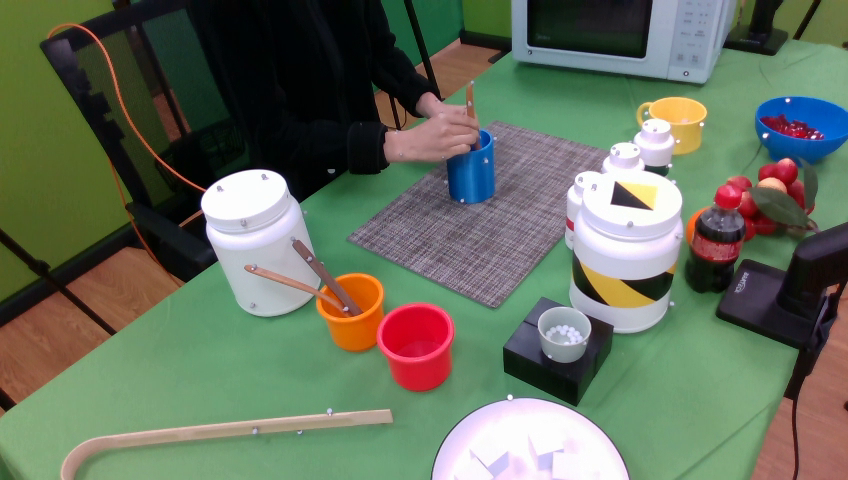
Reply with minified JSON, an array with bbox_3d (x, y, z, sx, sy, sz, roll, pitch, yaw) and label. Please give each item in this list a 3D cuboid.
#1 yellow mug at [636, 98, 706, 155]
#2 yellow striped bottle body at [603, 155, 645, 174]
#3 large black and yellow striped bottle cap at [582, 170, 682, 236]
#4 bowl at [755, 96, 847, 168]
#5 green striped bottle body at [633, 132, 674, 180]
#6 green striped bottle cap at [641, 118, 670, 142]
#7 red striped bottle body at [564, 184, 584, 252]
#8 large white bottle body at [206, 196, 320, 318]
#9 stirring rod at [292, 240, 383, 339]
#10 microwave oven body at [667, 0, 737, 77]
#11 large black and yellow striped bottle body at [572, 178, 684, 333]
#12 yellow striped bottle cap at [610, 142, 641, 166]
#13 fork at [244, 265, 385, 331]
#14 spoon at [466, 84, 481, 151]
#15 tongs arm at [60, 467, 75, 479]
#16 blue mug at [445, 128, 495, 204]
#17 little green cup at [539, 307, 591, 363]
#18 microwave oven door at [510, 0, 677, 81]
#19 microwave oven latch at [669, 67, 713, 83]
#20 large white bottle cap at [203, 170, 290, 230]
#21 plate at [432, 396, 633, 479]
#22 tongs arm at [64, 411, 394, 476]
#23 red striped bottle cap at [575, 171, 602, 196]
[{"bbox_3d":[0.453,-0.217,1.128,0.100,0.064,0.129,-34,46,-27],"label":"yellow mug"},{"bbox_3d":[0.314,-0.090,0.958,0.063,0.121,0.062,-4,40,4],"label":"yellow striped bottle body"},{"bbox_3d":[0.252,-0.048,0.735,0.115,0.019,0.114,-3,40,3],"label":"large black and yellow striped bottle cap"},{"bbox_3d":[0.645,-0.177,1.041,0.151,0.077,0.150,-5,40,4],"label":"bowl"},{"bbox_3d":[0.376,-0.135,1.001,0.063,0.120,0.063,-5,40,5],"label":"green striped bottle body"},{"bbox_3d":[0.371,-0.175,0.968,0.044,0.020,0.044,-7,42,7],"label":"green striped bottle cap"},{"bbox_3d":[0.247,-0.041,0.910,0.063,0.120,0.062,-3,39,3],"label":"red striped bottle body"},{"bbox_3d":[-0.233,0.008,0.876,0.130,0.185,0.130,-4,40,4],"label":"large white bottle body"},{"bbox_3d":[-0.118,0.068,0.826,0.176,0.006,0.014,49,59,-4],"label":"stirring rod"},{"bbox_3d":[0.462,-0.552,1.369,0.439,0.261,0.326,15,45,26],"label":"microwave oven body"},{"bbox_3d":[0.262,0.017,0.788,0.131,0.185,0.130,-5,40,4],"label":"large black and yellow striped bottle body"},{"bbox_3d":[0.308,-0.131,0.925,0.044,0.019,0.044,-4,46,5],"label":"yellow striped bottle cap"},{"bbox_3d":[-0.142,0.078,0.806,0.209,0.018,0.028,30,33,-24],"label":"fork"},{"bbox_3d":[0.085,-0.170,0.994,0.042,0.195,0.021,-38,46,-22],"label":"spoon"},{"bbox_3d":[-0.239,0.301,0.648,0.386,0.028,0.028,6,49,16],"label":"tongs arm"},{"bbox_3d":[0.081,-0.138,1.057,0.082,0.106,0.116,-5,40,3],"label":"blue mug"},{"bbox_3d":[0.167,0.114,0.721,0.061,0.039,0.061,-4,43,4],"label":"little green cup"},{"bbox_3d":[0.354,-0.478,1.290,0.353,0.245,0.039,15,45,25],"label":"microwave oven door"},{"bbox_3d":[0.556,-0.348,1.261,0.078,0.029,0.030,16,46,27],"label":"microwave oven latch"},{"bbox_3d":[-0.241,-0.057,0.822,0.115,0.018,0.114,-4,41,4],"label":"large white bottle cap"},{"bbox_3d":[0.112,0.261,0.634,0.209,0.038,0.208,-5,40,4],"label":"plate"},{"bbox_3d":[-0.228,0.241,0.715,0.385,0.026,0.050,-5,43,4],"label":"tongs arm"},{"bbox_3d":[0.242,-0.081,0.876,0.044,0.018,0.044,-5,43,5],"label":"red striped bottle cap"}]
